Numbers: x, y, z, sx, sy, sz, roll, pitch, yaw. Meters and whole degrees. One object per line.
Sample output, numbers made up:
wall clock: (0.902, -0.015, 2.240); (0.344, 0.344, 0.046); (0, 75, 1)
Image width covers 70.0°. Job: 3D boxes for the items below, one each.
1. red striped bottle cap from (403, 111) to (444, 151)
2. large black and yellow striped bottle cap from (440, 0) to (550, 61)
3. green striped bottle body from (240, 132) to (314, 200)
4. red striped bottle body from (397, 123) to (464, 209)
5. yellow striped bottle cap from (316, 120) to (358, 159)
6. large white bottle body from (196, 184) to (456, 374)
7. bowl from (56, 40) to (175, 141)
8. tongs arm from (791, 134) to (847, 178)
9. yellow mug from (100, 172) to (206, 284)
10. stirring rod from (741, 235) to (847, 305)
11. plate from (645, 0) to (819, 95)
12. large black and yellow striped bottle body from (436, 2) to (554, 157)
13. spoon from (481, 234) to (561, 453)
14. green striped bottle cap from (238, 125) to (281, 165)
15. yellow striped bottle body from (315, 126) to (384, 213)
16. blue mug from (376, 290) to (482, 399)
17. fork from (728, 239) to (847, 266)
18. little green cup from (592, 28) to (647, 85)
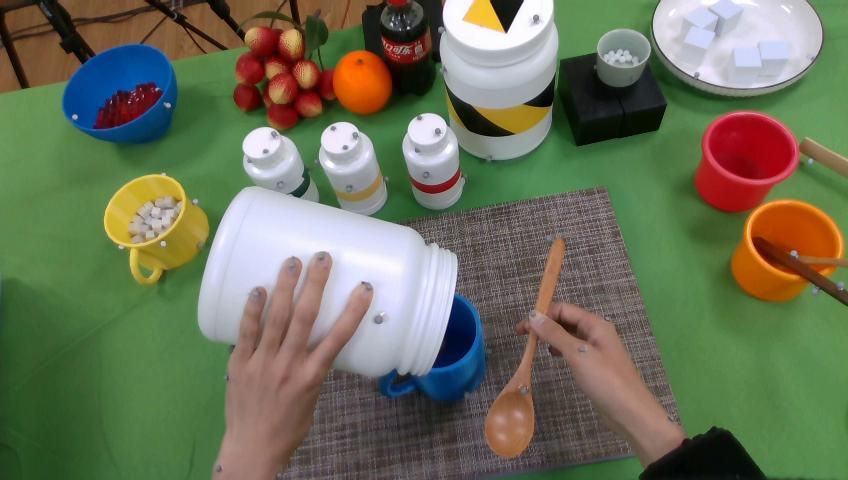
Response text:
red striped bottle cap: (0.000, -0.118, 0.654); (0.044, 0.018, 0.044); (-1, 61, 2)
large black and yellow striped bottle cap: (0.073, -0.237, 0.632); (0.115, 0.019, 0.114); (-4, 64, 8)
green striped bottle body: (-0.175, -0.081, 0.716); (0.063, 0.120, 0.062); (-3, 62, 5)
red striped bottle body: (0.007, -0.093, 0.701); (0.063, 0.121, 0.062); (-6, 59, 10)
yellow striped bottle cap: (-0.095, -0.110, 0.662); (0.044, 0.019, 0.044); (-1, 58, 2)
large white bottle body: (-0.076, 0.037, 0.503); (0.185, 0.131, 0.129); (15, 64, -7)
bowl: (-0.401, -0.188, 0.823); (0.151, 0.077, 0.150); (-3, 63, 5)
tongs arm: (0.581, -0.017, 0.636); (0.050, 0.027, 0.381); (-42, 66, -18)
yellow mug: (-0.329, -0.010, 0.730); (0.100, 0.064, 0.130); (-1, 63, 7)
stirring rod: (0.357, 0.025, 0.586); (0.014, 0.006, 0.175); (-7, 19, 1)
plate: (0.393, -0.267, 0.788); (0.209, 0.038, 0.207); (-3, 63, 6)
large black and yellow striped bottle body: (0.083, -0.199, 0.709); (0.130, 0.185, 0.129); (-3, 62, 6)
spoon: (0.091, 0.086, 0.524); (0.041, 0.022, 0.193); (16, 85, 15)
green striped bottle cap: (-0.182, -0.106, 0.671); (0.044, 0.020, 0.044); (-2, 61, 4)
yellow striped bottle body: (-0.088, -0.087, 0.708); (0.063, 0.121, 0.062); (-3, 62, 6)
blue mug: (0.002, 0.113, 0.597); (0.116, 0.107, 0.081); (-35, 63, -11)
fork: (0.388, 0.021, 0.577); (0.028, 0.019, 0.206); (-46, 23, -15)
little green cup: (0.231, -0.217, 0.724); (0.061, 0.039, 0.061); (-2, 60, 4)
